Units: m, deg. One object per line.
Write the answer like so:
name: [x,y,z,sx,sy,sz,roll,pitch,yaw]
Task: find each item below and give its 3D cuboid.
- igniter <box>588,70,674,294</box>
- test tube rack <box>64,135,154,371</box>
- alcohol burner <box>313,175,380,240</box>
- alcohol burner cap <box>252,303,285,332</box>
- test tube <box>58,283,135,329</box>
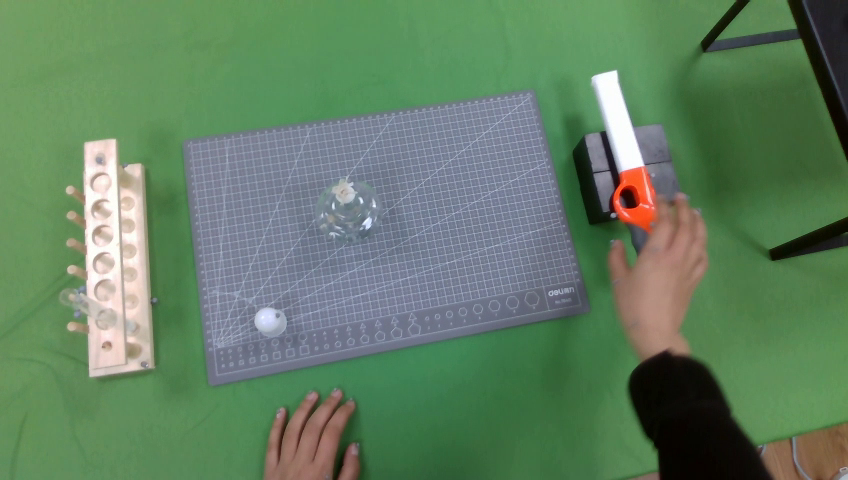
igniter: [0.244,-0.072,0.715,0.057,0.025,0.275,-12,77,3]
test tube rack: [-0.351,0.016,0.663,0.067,0.085,0.241,-8,77,-6]
alcohol burner: [-0.088,-0.041,0.681,0.078,0.119,0.077,1,77,-4]
alcohol burner cap: [-0.176,0.086,0.680,0.034,0.048,0.033,1,76,-4]
test tube: [-0.321,0.068,0.602,0.017,0.151,0.017,2,71,-5]
